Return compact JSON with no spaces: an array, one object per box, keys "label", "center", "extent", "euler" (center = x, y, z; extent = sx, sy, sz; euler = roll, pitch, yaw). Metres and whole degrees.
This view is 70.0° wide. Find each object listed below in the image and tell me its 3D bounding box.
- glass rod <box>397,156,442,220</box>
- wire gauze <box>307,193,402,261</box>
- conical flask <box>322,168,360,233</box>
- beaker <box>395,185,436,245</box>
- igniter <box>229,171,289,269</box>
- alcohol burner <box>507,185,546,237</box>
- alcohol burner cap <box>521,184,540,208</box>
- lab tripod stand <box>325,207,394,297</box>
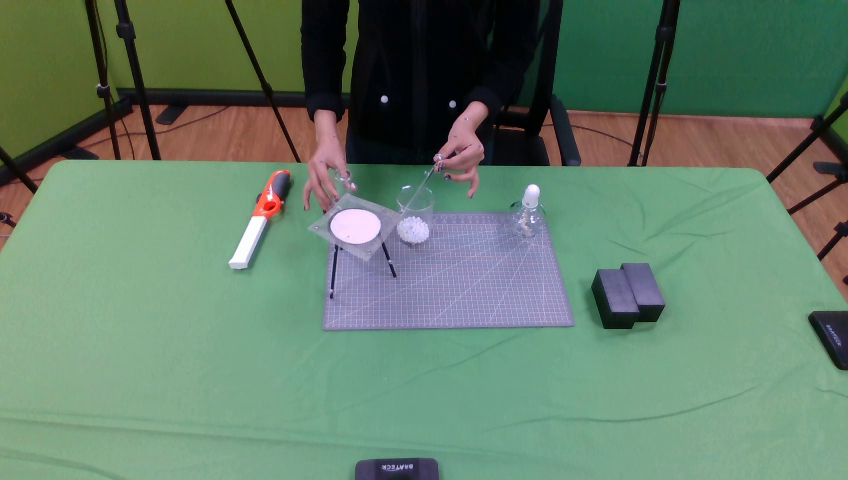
[{"label":"glass rod","center":[-0.012,-0.094,1.130],"extent":[0.008,0.200,0.008],"euler":[14,53,-19]},{"label":"wire gauze","center":[-0.118,-0.028,1.043],"extent":[0.125,0.011,0.121],"euler":[24,47,17]},{"label":"conical flask","center":[-0.158,-0.079,1.159],"extent":[0.075,0.122,0.075],"euler":[5,43,-4]},{"label":"beaker","center":[-0.022,-0.048,1.187],"extent":[0.074,0.101,0.083],"euler":[-28,53,-28]},{"label":"igniter","center":[-0.328,-0.049,1.218],"extent":[0.057,0.025,0.275],"euler":[1,45,11]},{"label":"alcohol burner","center":[0.208,-0.063,1.210],"extent":[0.078,0.119,0.077],"euler":[3,44,-3]},{"label":"alcohol burner cap","center":[0.210,-0.087,1.183],"extent":[0.034,0.048,0.033],"euler":[1,53,-1]},{"label":"lab tripod stand","center":[-0.124,0.017,1.092],"extent":[0.148,0.132,0.147],"euler":[3,44,-3]}]
